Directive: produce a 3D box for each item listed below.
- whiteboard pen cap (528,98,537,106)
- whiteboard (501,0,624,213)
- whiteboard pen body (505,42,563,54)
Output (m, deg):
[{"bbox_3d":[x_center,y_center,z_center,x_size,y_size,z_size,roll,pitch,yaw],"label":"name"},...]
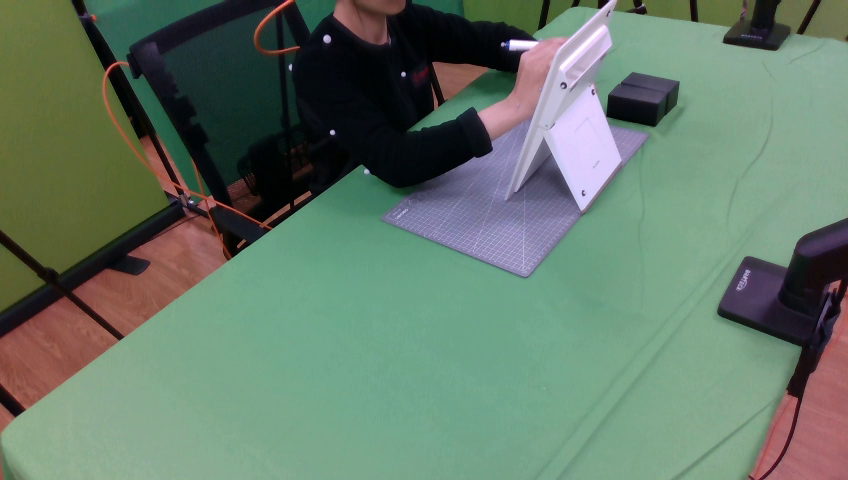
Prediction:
[{"bbox_3d":[0.239,-0.293,1.288,0.033,0.018,0.018,22,50,36],"label":"whiteboard pen cap"},{"bbox_3d":[0.271,-0.189,0.977,0.143,0.306,0.218,34,53,16],"label":"whiteboard"},{"bbox_3d":[0.205,-0.317,1.003,0.141,0.017,0.017,5,42,4],"label":"whiteboard pen body"}]
